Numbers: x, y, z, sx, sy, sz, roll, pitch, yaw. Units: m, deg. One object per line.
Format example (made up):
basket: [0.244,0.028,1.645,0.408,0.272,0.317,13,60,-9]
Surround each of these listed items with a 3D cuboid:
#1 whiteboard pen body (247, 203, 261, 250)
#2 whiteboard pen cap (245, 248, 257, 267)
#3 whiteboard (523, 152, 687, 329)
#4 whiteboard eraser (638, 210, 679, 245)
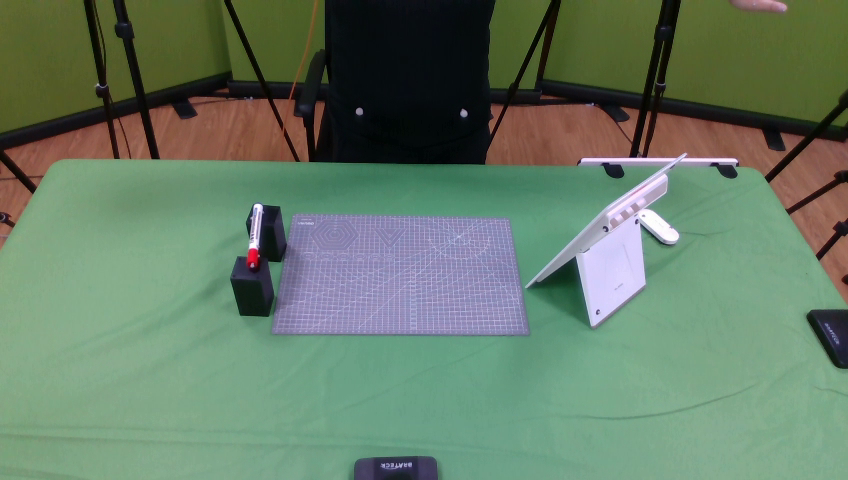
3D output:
whiteboard pen body: [-0.295,-0.014,1.052,0.017,0.017,0.139,-2,45,-6]
whiteboard pen cap: [-0.288,0.028,1.010,0.017,0.017,0.032,-2,44,-6]
whiteboard: [0.346,0.025,1.046,0.217,0.306,0.143,-30,74,-29]
whiteboard eraser: [0.485,-0.027,1.260,0.041,0.019,0.100,-21,50,-21]
